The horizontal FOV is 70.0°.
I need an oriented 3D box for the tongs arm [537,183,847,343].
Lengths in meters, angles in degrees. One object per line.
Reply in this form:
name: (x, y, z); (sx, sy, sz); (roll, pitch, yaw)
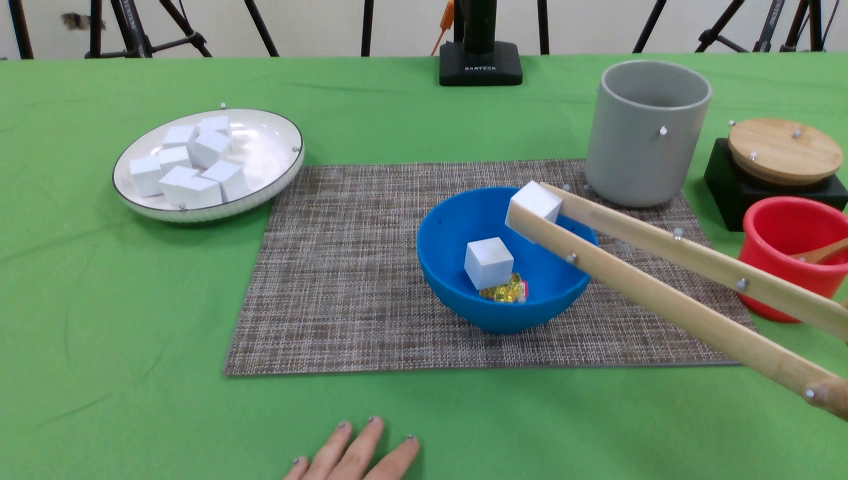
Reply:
tongs arm: (0.218, 0.047, 0.379); (0.381, 0.027, 0.051); (28, 49, 34)

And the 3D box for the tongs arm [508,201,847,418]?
tongs arm: (0.200, 0.058, 0.368); (0.028, 0.028, 0.383); (-30, 45, -33)

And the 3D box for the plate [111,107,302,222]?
plate: (-0.241, -0.085, 0.690); (0.209, 0.038, 0.207); (-1, 42, 2)

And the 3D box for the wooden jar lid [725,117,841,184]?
wooden jar lid: (0.365, -0.092, 0.623); (0.108, 0.021, 0.107); (-1, 41, 2)

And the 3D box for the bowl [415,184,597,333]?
bowl: (0.068, 0.027, 0.523); (0.151, 0.077, 0.150); (-1, 42, 1)

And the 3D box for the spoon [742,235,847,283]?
spoon: (0.355, 0.002, 0.500); (0.022, 0.193, 0.041); (43, 41, -19)

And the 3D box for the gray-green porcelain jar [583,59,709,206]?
gray-green porcelain jar: (0.225, -0.107, 0.633); (0.106, 0.127, 0.105); (-1, 42, 1)
